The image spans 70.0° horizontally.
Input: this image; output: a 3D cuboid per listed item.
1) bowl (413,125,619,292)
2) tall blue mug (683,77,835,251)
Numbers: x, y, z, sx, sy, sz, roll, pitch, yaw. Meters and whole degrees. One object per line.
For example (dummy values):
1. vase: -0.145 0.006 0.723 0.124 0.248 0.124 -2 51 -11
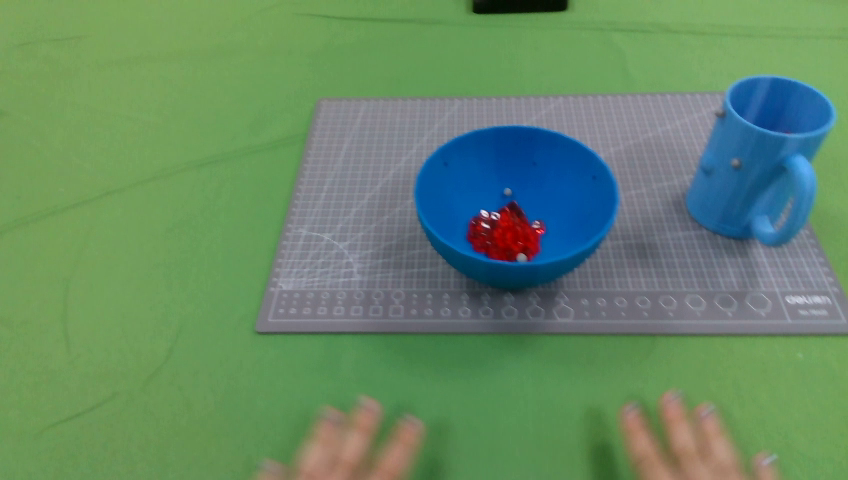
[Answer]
1. bowl: 0.068 -0.012 0.473 0.151 0.077 0.150 -1 49 2
2. tall blue mug: 0.269 -0.053 0.476 0.078 0.109 0.106 -25 52 -19
